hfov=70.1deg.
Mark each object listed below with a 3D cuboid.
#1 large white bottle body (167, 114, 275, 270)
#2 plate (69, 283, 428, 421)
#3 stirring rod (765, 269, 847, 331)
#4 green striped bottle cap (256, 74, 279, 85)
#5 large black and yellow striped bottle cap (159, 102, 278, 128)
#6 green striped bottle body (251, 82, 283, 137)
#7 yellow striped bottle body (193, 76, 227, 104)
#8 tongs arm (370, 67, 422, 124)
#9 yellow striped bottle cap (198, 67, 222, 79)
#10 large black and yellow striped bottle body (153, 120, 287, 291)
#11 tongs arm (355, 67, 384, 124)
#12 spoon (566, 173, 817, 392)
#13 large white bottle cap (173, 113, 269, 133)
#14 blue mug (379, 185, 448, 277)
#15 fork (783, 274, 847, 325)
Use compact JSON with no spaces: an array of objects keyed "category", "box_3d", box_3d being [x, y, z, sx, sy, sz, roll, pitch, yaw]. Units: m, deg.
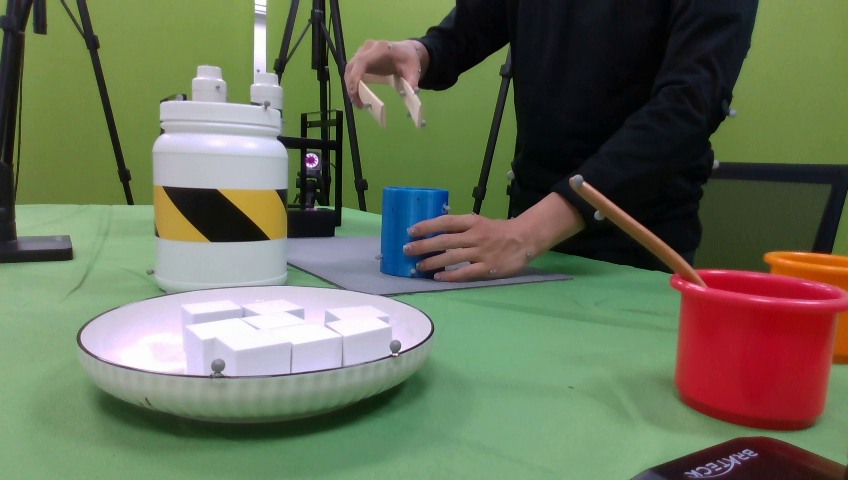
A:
[{"category":"large white bottle body","box_3d":[-0.257,-0.063,0.771,0.131,0.184,0.130,2,7,0]},{"category":"plate","box_3d":[-0.102,0.066,0.381,0.208,0.039,0.207,2,7,0]},{"category":"stirring rod","box_3d":[0.352,0.020,0.484,0.176,0.006,0.014,-40,-6,13]},{"category":"green striped bottle cap","box_3d":[-0.314,-0.321,1.214,0.044,0.020,0.044,2,9,0]},{"category":"large black and yellow striped bottle cap","box_3d":[-0.207,-0.125,0.615,0.115,0.019,0.115,2,6,0]},{"category":"green striped bottle body","box_3d":[-0.317,-0.270,1.220,0.063,0.119,0.063,2,7,0]},{"category":"yellow striped bottle body","box_3d":[-0.414,-0.268,1.169,0.063,0.120,0.063,2,7,0]},{"category":"tongs arm","box_3d":[-0.044,-0.194,0.777,0.051,0.026,0.384,-1,20,-5]},{"category":"yellow striped bottle cap","box_3d":[-0.411,-0.320,1.163,0.044,0.018,0.044,1,6,0]},{"category":"large black and yellow striped bottle body","box_3d":[-0.208,-0.042,0.626,0.131,0.184,0.130,2,7,0]},{"category":"tongs arm","box_3d":[-0.069,-0.193,0.773,0.028,0.028,0.386,-6,21,-7]},{"category":"spoon","box_3d":[0.161,0.024,0.370,0.193,0.021,0.042,47,18,3]},{"category":"large white bottle cap","box_3d":[-0.254,-0.147,0.760,0.115,0.018,0.115,1,7,0]},{"category":"blue mug","box_3d":[-0.020,-0.015,0.763,0.083,0.106,0.116,-2,7,-27]},{"category":"fork","box_3d":[0.332,0.018,0.443,0.028,0.018,0.207,-1,-36,-15]}]
